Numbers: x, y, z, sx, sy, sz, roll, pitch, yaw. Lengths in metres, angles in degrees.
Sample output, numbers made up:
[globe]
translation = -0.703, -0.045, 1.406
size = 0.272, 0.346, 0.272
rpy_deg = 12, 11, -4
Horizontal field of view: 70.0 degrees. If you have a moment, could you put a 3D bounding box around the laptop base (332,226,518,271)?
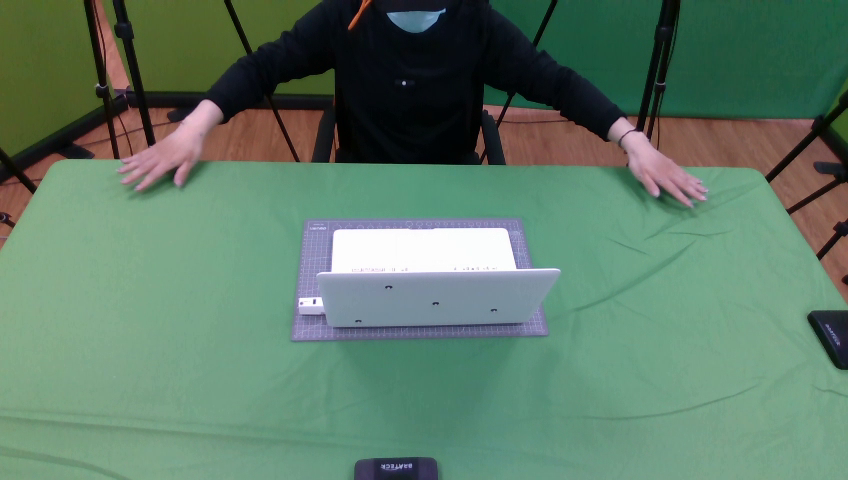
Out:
[laptop base]
translation = 0.004, 0.062, 1.136
size = 0.355, 0.023, 0.234
rpy_deg = -1, 43, -4

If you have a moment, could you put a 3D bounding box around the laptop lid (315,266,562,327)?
[laptop lid]
translation = 0.018, 0.094, 0.949
size = 0.357, 0.242, 0.013
rpy_deg = 0, 64, -6

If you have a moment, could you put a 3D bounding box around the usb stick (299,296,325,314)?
[usb stick]
translation = -0.187, 0.114, 1.057
size = 0.059, 0.027, 0.021
rpy_deg = 2, 45, -5
